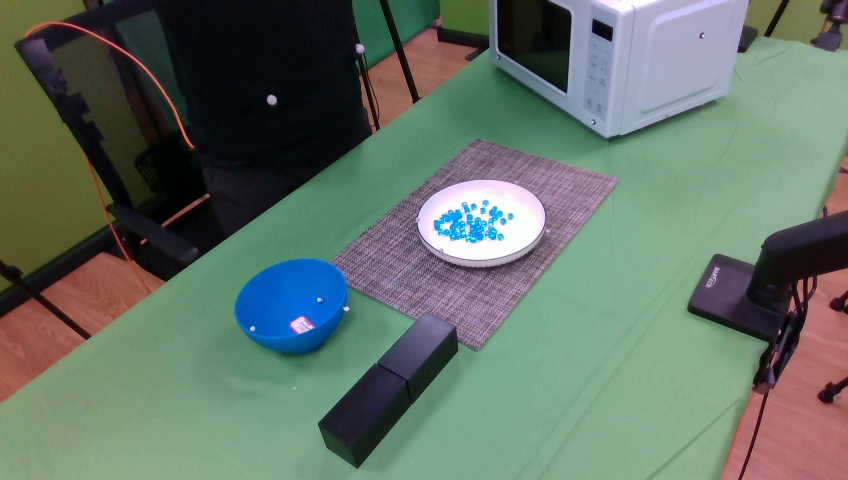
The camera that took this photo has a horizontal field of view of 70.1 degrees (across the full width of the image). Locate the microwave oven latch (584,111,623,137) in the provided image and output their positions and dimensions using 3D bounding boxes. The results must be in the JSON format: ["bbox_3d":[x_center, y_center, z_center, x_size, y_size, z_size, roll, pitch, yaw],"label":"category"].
[{"bbox_3d":[0.337,-0.222,1.142,0.030,0.029,0.078,-21,42,-14],"label":"microwave oven latch"}]

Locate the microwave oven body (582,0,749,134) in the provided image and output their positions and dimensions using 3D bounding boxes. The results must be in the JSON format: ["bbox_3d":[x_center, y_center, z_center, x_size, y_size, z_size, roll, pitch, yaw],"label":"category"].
[{"bbox_3d":[0.382,-0.444,1.246,0.327,0.261,0.437,-22,42,-16],"label":"microwave oven body"}]

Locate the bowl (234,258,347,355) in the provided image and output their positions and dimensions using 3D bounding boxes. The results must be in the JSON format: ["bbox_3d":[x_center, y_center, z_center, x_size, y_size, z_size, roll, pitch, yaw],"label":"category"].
[{"bbox_3d":[-0.174,0.103,0.831,0.151,0.077,0.150,-4,41,4],"label":"bowl"}]

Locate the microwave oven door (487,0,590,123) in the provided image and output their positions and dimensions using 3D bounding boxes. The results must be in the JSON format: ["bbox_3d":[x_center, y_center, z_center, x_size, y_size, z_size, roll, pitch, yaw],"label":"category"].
[{"bbox_3d":[0.232,-0.420,1.230,0.039,0.245,0.352,-22,43,-16],"label":"microwave oven door"}]

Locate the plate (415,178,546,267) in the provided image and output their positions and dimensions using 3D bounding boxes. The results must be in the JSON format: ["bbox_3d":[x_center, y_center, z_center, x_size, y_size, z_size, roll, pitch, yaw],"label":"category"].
[{"bbox_3d":[0.091,-0.026,0.970,0.207,0.039,0.206,-4,41,4],"label":"plate"}]
